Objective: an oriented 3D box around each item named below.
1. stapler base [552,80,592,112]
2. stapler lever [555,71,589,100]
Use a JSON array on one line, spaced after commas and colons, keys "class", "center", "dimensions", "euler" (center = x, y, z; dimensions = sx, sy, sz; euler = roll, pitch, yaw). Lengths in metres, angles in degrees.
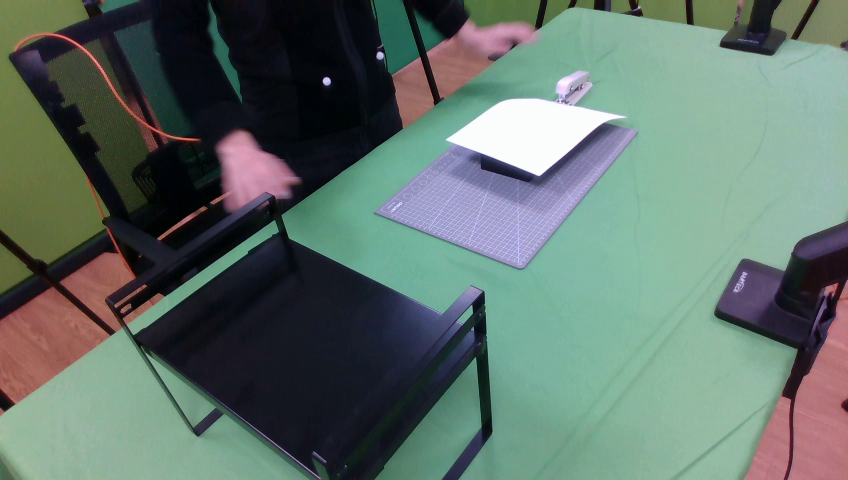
[{"class": "stapler base", "center": [0.318, -0.316, 1.298], "dimensions": [0.041, 0.024, 0.131], "euler": [20, 46, 30]}, {"class": "stapler lever", "center": [0.315, -0.336, 1.284], "dimensions": [0.026, 0.040, 0.118], "euler": [20, 47, 30]}]
